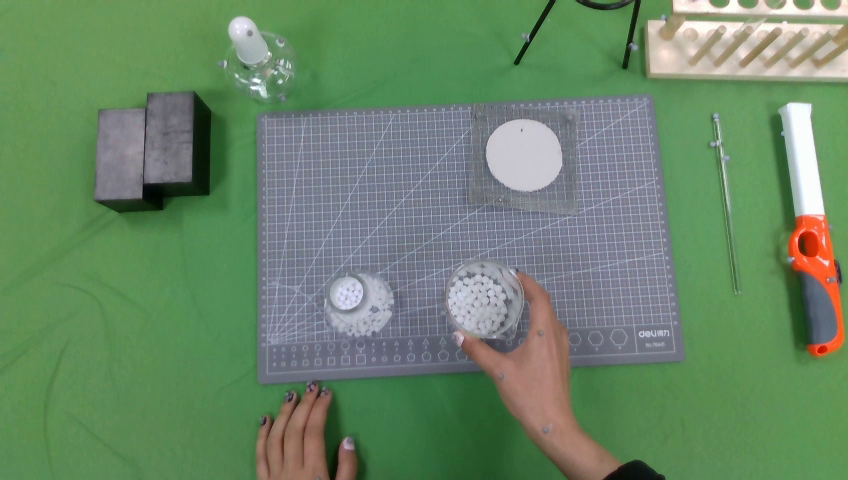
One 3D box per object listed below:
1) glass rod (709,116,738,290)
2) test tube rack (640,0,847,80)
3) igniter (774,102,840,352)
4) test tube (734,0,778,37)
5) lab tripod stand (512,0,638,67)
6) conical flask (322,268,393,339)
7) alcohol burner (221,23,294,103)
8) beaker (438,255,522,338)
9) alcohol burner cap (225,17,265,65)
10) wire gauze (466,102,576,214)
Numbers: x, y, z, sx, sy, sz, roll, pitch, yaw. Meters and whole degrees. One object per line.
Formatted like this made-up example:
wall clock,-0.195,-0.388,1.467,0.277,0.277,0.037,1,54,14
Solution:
glass rod,0.331,-0.043,0.672,0.008,0.008,0.199,-2,80,-1
test tube rack,0.374,-0.227,0.666,0.242,0.085,0.066,1,79,0
igniter,0.416,-0.018,0.659,0.057,0.025,0.275,0,80,-10
test tube,0.357,-0.250,0.620,0.017,0.151,0.017,0,79,3
lab tripod stand,0.167,-0.249,0.644,0.148,0.132,0.148,0,82,0
conical flask,-0.070,0.057,0.590,0.075,0.122,0.075,0,79,0
alcohol burner,-0.180,-0.193,0.641,0.078,0.119,0.077,0,81,1
beaker,0.054,0.062,0.602,0.074,0.100,0.083,-36,83,-6
alcohol burner cap,-0.180,-0.202,0.606,0.034,0.048,0.033,0,73,-1
wire gauze,0.110,-0.094,0.677,0.125,0.011,0.121,5,80,-2
